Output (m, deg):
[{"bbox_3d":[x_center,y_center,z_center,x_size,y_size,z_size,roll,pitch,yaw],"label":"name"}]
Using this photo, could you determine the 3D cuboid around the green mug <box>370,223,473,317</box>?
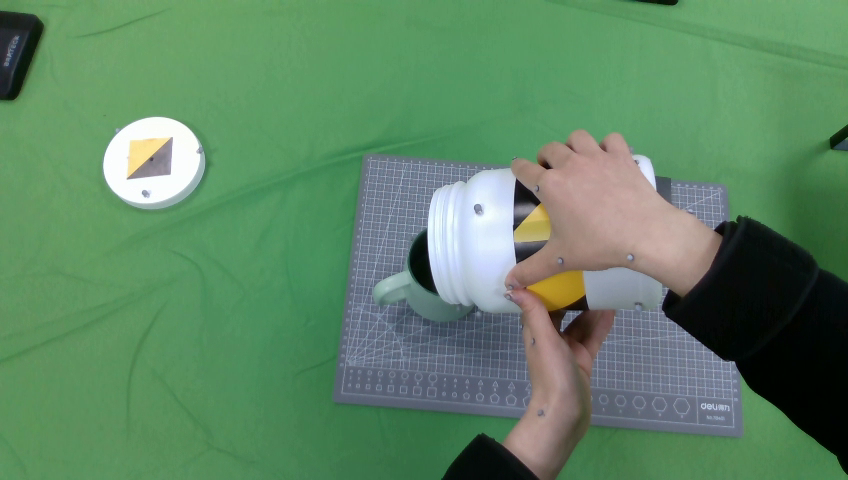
[{"bbox_3d":[0.003,0.036,0.648,0.125,0.105,0.092,-20,75,-8],"label":"green mug"}]

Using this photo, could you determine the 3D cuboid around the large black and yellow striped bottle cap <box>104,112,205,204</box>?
[{"bbox_3d":[-0.323,-0.099,0.726,0.115,0.019,0.114,1,72,-2],"label":"large black and yellow striped bottle cap"}]

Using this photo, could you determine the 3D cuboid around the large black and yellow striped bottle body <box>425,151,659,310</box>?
[{"bbox_3d":[0.104,-0.005,0.530,0.183,0.132,0.130,-3,71,17],"label":"large black and yellow striped bottle body"}]
